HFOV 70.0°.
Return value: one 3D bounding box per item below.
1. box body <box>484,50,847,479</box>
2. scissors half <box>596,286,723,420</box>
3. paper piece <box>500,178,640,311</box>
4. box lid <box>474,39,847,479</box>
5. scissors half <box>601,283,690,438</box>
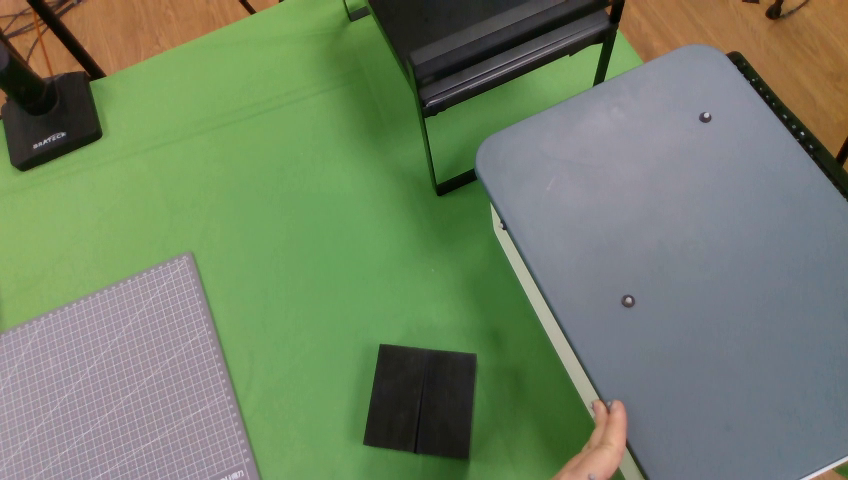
[{"bbox_3d":[0.243,0.038,0.584,0.254,0.161,0.361,-24,68,-3],"label":"box body"},{"bbox_3d":[0.242,0.111,0.632,0.040,0.013,0.173,-34,64,-15],"label":"scissors half"},{"bbox_3d":[0.168,0.003,0.696,0.136,0.009,0.137,-12,80,-6],"label":"paper piece"},{"bbox_3d":[0.227,0.003,0.512,0.263,0.015,0.368,-25,67,-2],"label":"box lid"},{"bbox_3d":[0.223,0.120,0.630,0.040,0.013,0.173,-17,62,0],"label":"scissors half"}]
